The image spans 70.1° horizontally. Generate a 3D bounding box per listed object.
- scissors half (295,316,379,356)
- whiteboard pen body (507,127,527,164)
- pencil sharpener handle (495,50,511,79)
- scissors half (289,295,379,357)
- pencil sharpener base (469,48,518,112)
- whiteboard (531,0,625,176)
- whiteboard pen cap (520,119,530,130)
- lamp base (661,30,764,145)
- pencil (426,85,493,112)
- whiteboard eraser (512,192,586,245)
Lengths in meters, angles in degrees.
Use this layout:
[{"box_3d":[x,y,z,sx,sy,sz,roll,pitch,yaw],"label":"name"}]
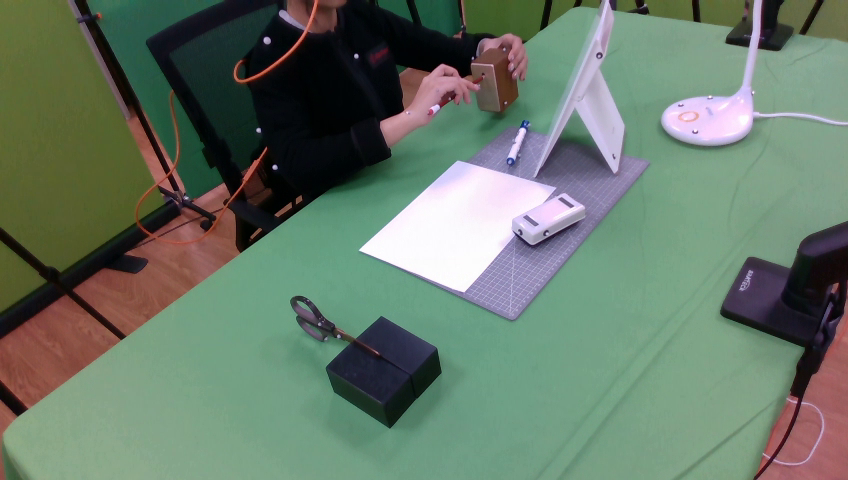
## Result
[{"box_3d":[-0.119,0.131,0.813,0.173,0.040,0.013,9,34,45],"label":"scissors half"},{"box_3d":[0.181,-0.189,1.162,0.017,0.017,0.140,8,42,19],"label":"whiteboard pen body"},{"box_3d":[0.169,-0.368,1.252,0.036,0.068,0.031,28,54,24],"label":"pencil sharpener handle"},{"box_3d":[-0.122,0.114,0.803,0.174,0.040,0.013,26,50,32],"label":"scissors half"},{"box_3d":[0.145,-0.326,1.229,0.061,0.107,0.077,17,48,37],"label":"pencil sharpener base"},{"box_3d":[0.320,-0.258,1.050,0.144,0.306,0.217,22,45,5],"label":"whiteboard"},{"box_3d":[0.200,-0.226,1.205,0.018,0.018,0.033,7,42,18],"label":"whiteboard pen cap"},{"box_3d":[0.535,-0.287,1.096,0.179,0.181,0.159,-10,40,-4],"label":"lamp base"},{"box_3d":[0.073,-0.268,1.137,0.012,0.012,0.195,27,41,35],"label":"pencil"},{"box_3d":[0.199,-0.032,0.962,0.113,0.042,0.055,-27,42,-20],"label":"whiteboard eraser"}]
